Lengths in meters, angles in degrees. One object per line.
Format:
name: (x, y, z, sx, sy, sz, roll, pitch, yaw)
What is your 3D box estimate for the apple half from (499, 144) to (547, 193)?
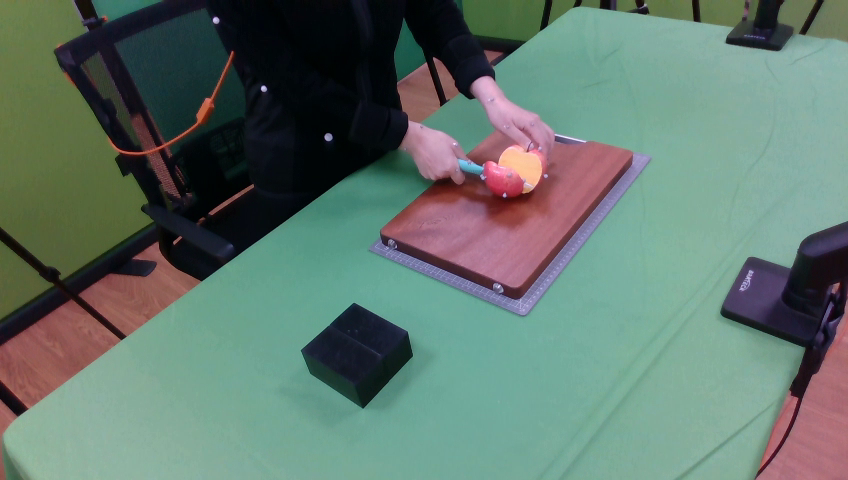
apple half: (0.170, -0.121, 1.013, 0.080, 0.075, 0.053, 18, 23, 25)

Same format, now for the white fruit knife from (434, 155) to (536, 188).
white fruit knife: (0.098, -0.116, 1.023, 0.206, 0.027, 0.016, 19, 65, 33)

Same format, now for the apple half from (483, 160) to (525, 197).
apple half: (0.126, -0.091, 0.991, 0.080, 0.082, 0.033, 21, 64, 32)
